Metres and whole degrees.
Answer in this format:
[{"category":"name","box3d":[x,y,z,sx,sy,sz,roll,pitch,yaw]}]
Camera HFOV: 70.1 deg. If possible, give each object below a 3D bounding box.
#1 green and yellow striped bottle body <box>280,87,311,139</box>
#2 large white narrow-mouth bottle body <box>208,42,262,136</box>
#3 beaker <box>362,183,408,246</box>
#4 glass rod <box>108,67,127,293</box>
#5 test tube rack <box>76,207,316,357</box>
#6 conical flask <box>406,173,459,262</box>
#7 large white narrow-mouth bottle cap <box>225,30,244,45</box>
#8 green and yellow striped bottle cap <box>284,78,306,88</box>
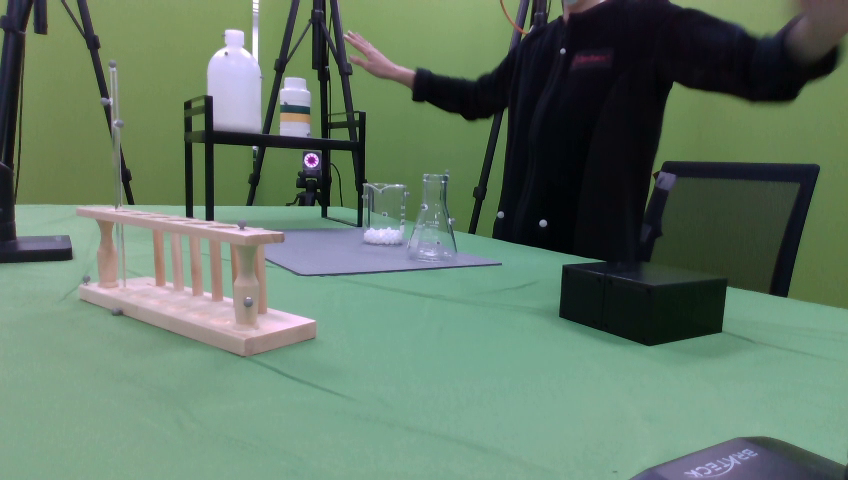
[{"category":"green and yellow striped bottle body","box3d":[-0.269,-0.274,1.266,0.063,0.119,0.063,3,7,0]},{"category":"large white narrow-mouth bottle body","box3d":[-0.368,-0.304,1.181,0.102,0.194,0.101,2,9,0]},{"category":"beaker","box3d":[-0.066,-0.043,0.996,0.074,0.100,0.084,3,8,6]},{"category":"glass rod","box3d":[-0.268,-0.050,0.527,0.008,0.199,0.008,-1,3,0]},{"category":"test tube rack","box3d":[-0.196,0.023,0.500,0.241,0.085,0.067,8,9,36]},{"category":"conical flask","box3d":[0.014,-0.033,0.851,0.075,0.122,0.075,2,7,0]},{"category":"large white narrow-mouth bottle cap","box3d":[-0.365,-0.390,1.166,0.038,0.024,0.037,2,9,0]},{"category":"green and yellow striped bottle cap","box3d":[-0.268,-0.325,1.259,0.045,0.020,0.045,5,8,0]}]
